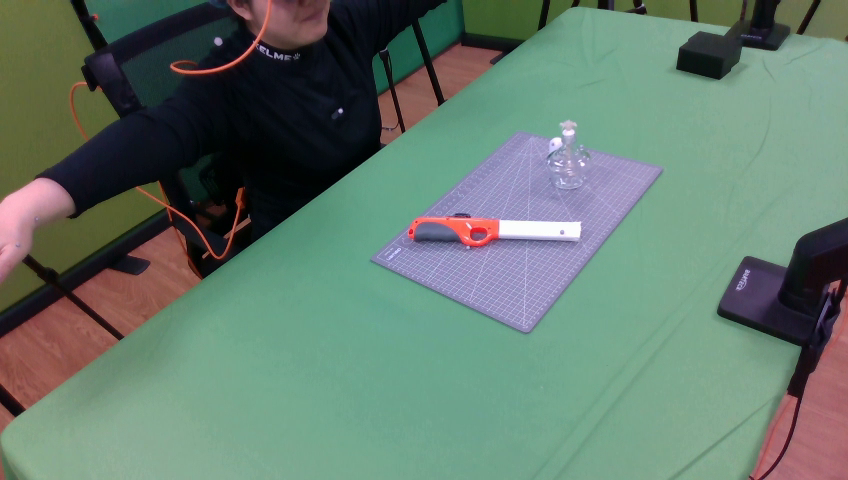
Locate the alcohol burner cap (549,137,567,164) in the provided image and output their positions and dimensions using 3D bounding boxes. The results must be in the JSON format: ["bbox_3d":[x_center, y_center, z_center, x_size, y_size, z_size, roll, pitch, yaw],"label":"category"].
[{"bbox_3d":[0.246,-0.166,1.113,0.034,0.048,0.033,-6,40,5],"label":"alcohol burner cap"}]

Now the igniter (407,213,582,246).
[{"bbox_3d":[0.110,-0.016,0.969,0.276,0.025,0.057,1,63,9],"label":"igniter"}]

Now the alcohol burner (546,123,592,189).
[{"bbox_3d":[0.248,-0.147,1.034,0.078,0.120,0.077,-7,41,6],"label":"alcohol burner"}]
